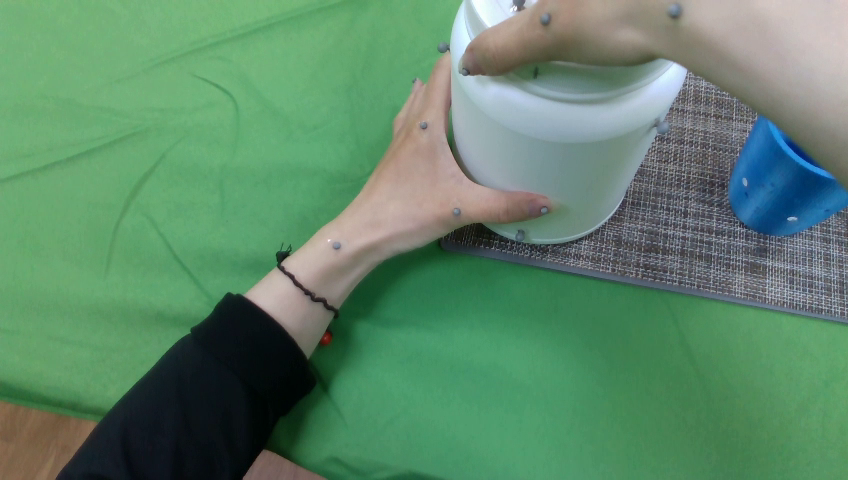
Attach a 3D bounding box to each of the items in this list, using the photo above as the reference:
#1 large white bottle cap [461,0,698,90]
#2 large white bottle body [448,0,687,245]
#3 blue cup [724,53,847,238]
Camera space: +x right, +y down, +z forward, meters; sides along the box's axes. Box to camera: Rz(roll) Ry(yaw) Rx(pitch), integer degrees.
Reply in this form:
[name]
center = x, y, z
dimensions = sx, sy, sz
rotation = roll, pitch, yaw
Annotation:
[large white bottle cap]
center = 0.076, -0.124, 0.300
dimensions = 0.115, 0.018, 0.114
rotation = -1, 66, 3
[large white bottle body]
center = 0.080, -0.089, 0.376
dimensions = 0.130, 0.186, 0.129
rotation = -1, 66, 2
[blue cup]
center = 0.246, -0.049, 0.398
dimensions = 0.092, 0.101, 0.092
rotation = -1, 64, 3
